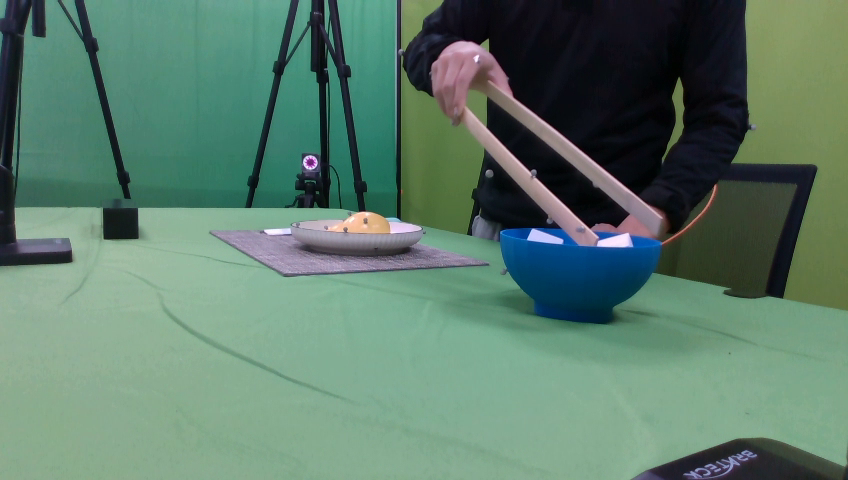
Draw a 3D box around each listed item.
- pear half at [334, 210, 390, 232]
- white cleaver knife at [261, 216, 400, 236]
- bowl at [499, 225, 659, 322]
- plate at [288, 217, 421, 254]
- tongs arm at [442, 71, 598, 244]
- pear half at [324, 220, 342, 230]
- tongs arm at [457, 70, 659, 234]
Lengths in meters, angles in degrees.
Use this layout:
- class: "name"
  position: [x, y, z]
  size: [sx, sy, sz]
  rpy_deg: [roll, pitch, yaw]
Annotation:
- class: "pear half"
  position: [-0.107, -0.016, 0.920]
  size: [0.110, 0.056, 0.076]
  rpy_deg: [-5, 5, -20]
- class: "white cleaver knife"
  position: [-0.169, -0.021, 1.156]
  size: [0.288, 0.021, 0.065]
  rpy_deg: [-7, 20, -33]
- class: "bowl"
  position: [0.145, 0.032, 0.584]
  size: [0.151, 0.077, 0.151]
  rpy_deg: [2, 7, 0]
- class: "plate"
  position: [-0.109, -0.007, 0.956]
  size: [0.208, 0.039, 0.207]
  rpy_deg: [2, 7, 0]
- class: "tongs arm"
  position: [0.102, -0.110, 0.710]
  size: [0.051, 0.026, 0.383]
  rpy_deg: [-19, 42, -16]
- class: "pear half"
  position: [-0.126, -0.019, 1.001]
  size: [0.088, 0.031, 0.070]
  rpy_deg: [8, 3, 1]
- class: "tongs arm"
  position: [0.141, -0.122, 0.722]
  size: [0.028, 0.028, 0.385]
  rpy_deg: [-23, 44, -14]
